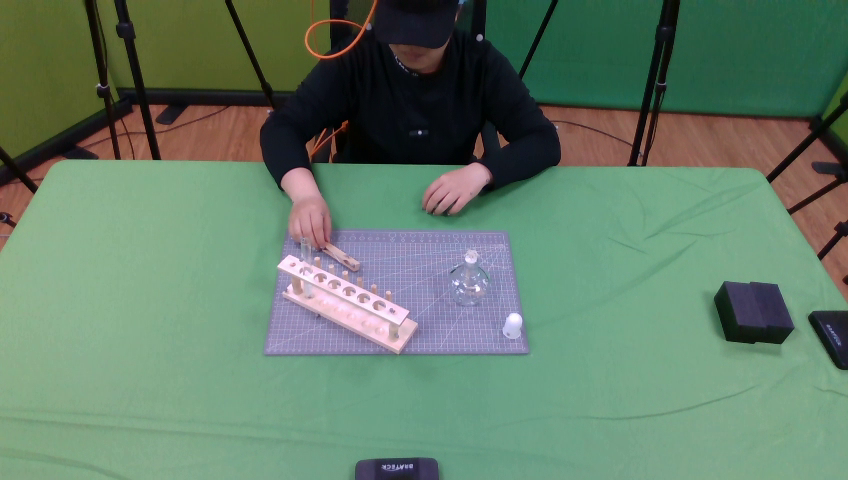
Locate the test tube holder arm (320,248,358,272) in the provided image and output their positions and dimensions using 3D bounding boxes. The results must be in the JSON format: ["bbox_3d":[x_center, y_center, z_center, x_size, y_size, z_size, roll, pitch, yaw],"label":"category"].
[{"bbox_3d":[-0.162,0.035,1.154,0.087,0.010,0.015,33,25,23],"label":"test tube holder arm"}]

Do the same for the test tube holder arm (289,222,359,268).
[{"bbox_3d":[-0.195,0.008,1.170,0.177,0.013,0.015,31,24,24],"label":"test tube holder arm"}]

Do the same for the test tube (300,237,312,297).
[{"bbox_3d":[-0.198,0.049,1.019,0.017,0.151,0.017,4,49,-5],"label":"test tube"}]

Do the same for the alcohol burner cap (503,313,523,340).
[{"bbox_3d":[0.156,0.148,1.051,0.034,0.048,0.033,1,45,-1],"label":"alcohol burner cap"}]

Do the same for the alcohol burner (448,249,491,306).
[{"bbox_3d":[0.081,0.062,1.078,0.078,0.120,0.077,1,45,-1],"label":"alcohol burner"}]

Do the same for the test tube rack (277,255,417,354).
[{"bbox_3d":[-0.131,0.099,1.045,0.241,0.085,0.066,23,49,17],"label":"test tube rack"}]
